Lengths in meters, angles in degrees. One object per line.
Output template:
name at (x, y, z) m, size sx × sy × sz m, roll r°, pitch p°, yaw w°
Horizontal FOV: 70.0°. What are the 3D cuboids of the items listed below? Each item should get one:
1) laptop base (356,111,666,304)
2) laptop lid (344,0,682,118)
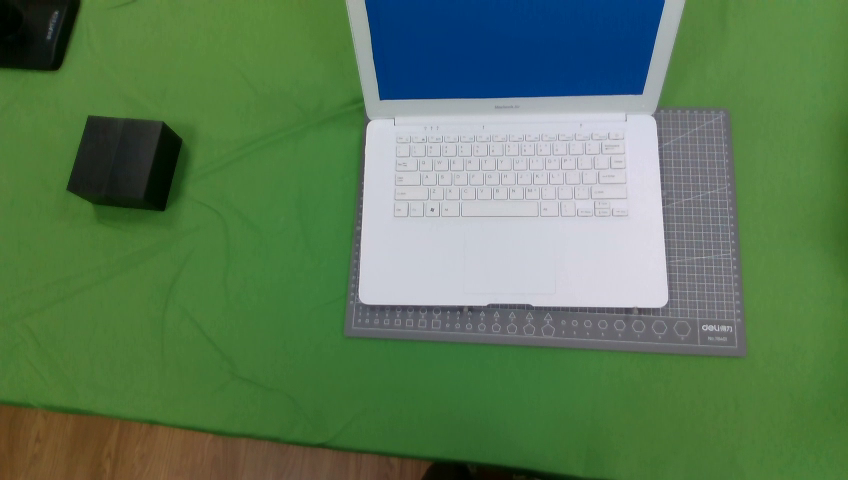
laptop base at (0.099, -0.040, 0.722) m, size 0.354 × 0.023 × 0.234 m, roll 0°, pitch 79°, yaw 5°
laptop lid at (0.093, -0.227, 0.659) m, size 0.356 × 0.244 × 0.013 m, roll -1°, pitch 50°, yaw 6°
